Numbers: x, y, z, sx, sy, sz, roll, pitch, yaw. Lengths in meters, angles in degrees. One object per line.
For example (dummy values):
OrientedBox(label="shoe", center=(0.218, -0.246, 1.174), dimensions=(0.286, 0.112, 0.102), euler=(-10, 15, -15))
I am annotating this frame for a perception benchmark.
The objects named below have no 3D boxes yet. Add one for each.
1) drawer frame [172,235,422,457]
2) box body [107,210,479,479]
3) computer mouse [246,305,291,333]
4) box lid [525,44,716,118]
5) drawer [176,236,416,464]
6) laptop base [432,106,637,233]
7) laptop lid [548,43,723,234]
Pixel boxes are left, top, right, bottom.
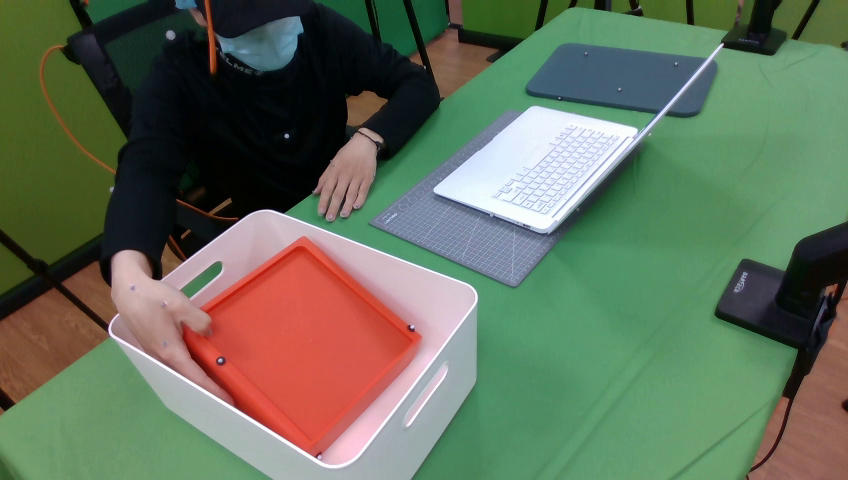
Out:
OrientedBox(label="drawer frame", center=(-0.149, 0.125, 0.734), dimensions=(0.212, 0.083, 0.202), euler=(39, 53, 13))
OrientedBox(label="box body", center=(-0.140, 0.136, 0.725), dimensions=(0.361, 0.161, 0.254), euler=(19, 47, 28))
OrientedBox(label="computer mouse", center=(-0.189, 0.089, 0.742), dimensions=(0.118, 0.041, 0.062), euler=(-29, 40, -33))
OrientedBox(label="box lid", center=(0.432, -0.360, 1.341), dimensions=(0.369, 0.015, 0.263), euler=(16, 45, 24))
OrientedBox(label="drawer", center=(-0.150, 0.125, 0.736), dimensions=(0.211, 0.073, 0.195), euler=(39, 52, 14))
OrientedBox(label="laptop base", center=(0.210, -0.142, 1.111), dimensions=(0.233, 0.023, 0.355), euler=(21, 48, 33))
OrientedBox(label="laptop lid", center=(0.336, -0.160, 0.956), dimensions=(0.013, 0.241, 0.358), euler=(43, 54, 8))
